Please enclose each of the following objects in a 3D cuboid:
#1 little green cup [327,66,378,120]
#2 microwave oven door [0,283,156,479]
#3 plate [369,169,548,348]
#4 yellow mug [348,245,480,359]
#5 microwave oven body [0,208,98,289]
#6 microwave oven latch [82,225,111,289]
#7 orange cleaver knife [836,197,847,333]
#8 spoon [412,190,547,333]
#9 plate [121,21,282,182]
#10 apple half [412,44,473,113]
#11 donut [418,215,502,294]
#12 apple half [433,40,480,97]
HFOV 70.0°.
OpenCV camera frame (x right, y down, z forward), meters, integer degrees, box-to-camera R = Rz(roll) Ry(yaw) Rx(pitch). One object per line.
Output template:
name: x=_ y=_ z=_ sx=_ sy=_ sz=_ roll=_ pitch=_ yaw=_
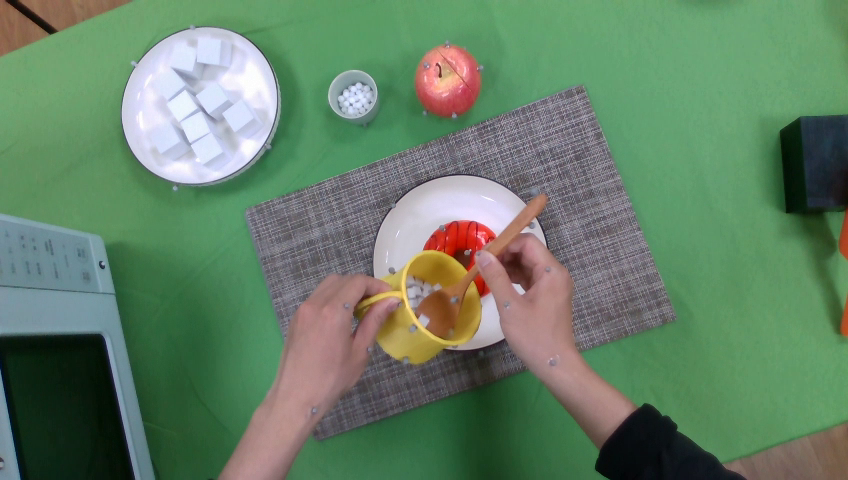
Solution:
little green cup: x=-0.087 y=-0.180 z=0.754 sx=0.061 sy=0.039 sz=0.061 roll=-1 pitch=84 yaw=7
microwave oven door: x=-0.368 y=0.220 z=0.621 sx=0.039 sy=0.244 sz=0.354 roll=-17 pitch=82 yaw=4
plate: x=0.040 y=0.021 z=0.714 sx=0.209 sy=0.038 sz=0.208 roll=-1 pitch=84 yaw=7
yellow mug: x=-0.014 y=0.062 z=0.597 sx=0.064 sy=0.132 sz=0.099 roll=-34 pitch=61 yaw=44
microwave oven body: x=-0.519 y=0.222 z=0.643 sx=0.326 sy=0.261 sz=0.440 roll=-17 pitch=83 yaw=4
microwave oven latch: x=-0.414 y=0.023 z=0.750 sx=0.030 sy=0.029 sz=0.079 roll=-15 pitch=83 yaw=4
orange cleaver knife: x=0.464 y=-0.001 z=0.648 sx=0.012 sy=0.076 sz=0.213 roll=0 pitch=116 yaw=8
spoon: x=0.049 y=0.024 z=0.564 sx=0.041 sy=0.022 sz=0.194 roll=51 pitch=125 yaw=16
plate: x=-0.279 y=-0.174 z=0.775 sx=0.207 sy=0.039 sz=0.207 roll=-1 pitch=84 yaw=6
apple half: x=0.016 y=-0.184 z=0.726 sx=0.053 sy=0.075 sz=0.080 roll=-40 pitch=84 yaw=5
donut: x=0.041 y=0.019 z=0.703 sx=0.099 sy=0.048 sz=0.099 roll=-1 pitch=86 yaw=7
apple half: x=0.045 y=-0.210 z=0.724 sx=0.033 sy=0.081 sz=0.081 roll=-40 pitch=81 yaw=5
